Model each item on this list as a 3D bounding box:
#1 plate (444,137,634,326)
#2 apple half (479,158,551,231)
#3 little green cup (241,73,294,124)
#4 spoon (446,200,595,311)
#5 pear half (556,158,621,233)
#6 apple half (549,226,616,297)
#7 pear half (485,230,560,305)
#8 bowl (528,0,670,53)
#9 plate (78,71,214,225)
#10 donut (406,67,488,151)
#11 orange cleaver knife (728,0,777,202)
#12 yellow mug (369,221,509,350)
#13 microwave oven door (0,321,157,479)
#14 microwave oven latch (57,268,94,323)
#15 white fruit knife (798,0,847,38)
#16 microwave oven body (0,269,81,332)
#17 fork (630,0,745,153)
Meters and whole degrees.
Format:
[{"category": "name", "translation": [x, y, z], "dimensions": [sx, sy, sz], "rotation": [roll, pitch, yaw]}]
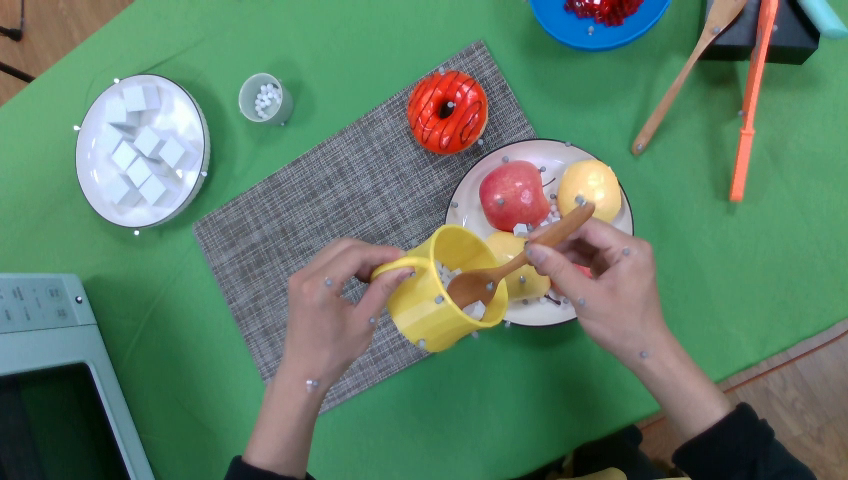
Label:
[{"category": "plate", "translation": [0.126, -0.009, 0.677], "dimensions": [0.208, 0.038, 0.209], "rotation": [-1, 88, 15]}, {"category": "apple half", "translation": [0.098, -0.050, 0.668], "dimensions": [0.074, 0.053, 0.080], "rotation": [-12, 88, 16]}, {"category": "little green cup", "translation": [-0.198, -0.178, 0.776], "dimensions": [0.061, 0.039, 0.061], "rotation": [-1, 88, 16]}, {"category": "spoon", "translation": [0.075, 0.018, 0.499], "dimensions": [0.042, 0.194, 0.021], "rotation": [39, 55, -8]}, {"category": "pear half", "translation": [0.172, -0.043, 0.651], "dimensions": [0.070, 0.031, 0.088], "rotation": [3, 99, 39]}, {"category": "apple half", "translation": [0.161, 0.025, 0.648], "dimensions": [0.081, 0.033, 0.081], "rotation": [6, 100, 37]}, {"category": "pear half", "translation": [0.105, 0.037, 0.667], "dimensions": [0.109, 0.056, 0.076], "rotation": [35, 101, 9]}, {"category": "bowl", "translation": [0.189, -0.267, 0.652], "dimensions": [0.151, 0.077, 0.151], "rotation": [0, 88, 15]}, {"category": "plate", "translation": [-0.372, -0.122, 0.822], "dimensions": [0.207, 0.039, 0.207], "rotation": [-1, 88, 16]}, {"category": "donut", "translation": [0.026, -0.152, 0.706], "dimensions": [0.099, 0.048, 0.099], "rotation": [0, 90, 18]}, {"category": "orange cleaver knife", "translation": [0.328, -0.145, 0.607], "dimensions": [0.012, 0.077, 0.213], "rotation": [8, 116, 21]}, {"category": "yellow mug", "translation": [0.009, 0.038, 0.537], "dimensions": [0.064, 0.132, 0.099], "rotation": [-33, 55, 36]}, {"category": "microwave oven door", "translation": [-0.420, 0.270, 0.697], "dimensions": [0.039, 0.245, 0.354], "rotation": [-27, 81, 13]}, {"category": "microwave oven latch", "translation": [-0.482, 0.078, 0.826], "dimensions": [0.030, 0.029, 0.079], "rotation": [-25, 82, 13]}, {"category": "white fruit knife", "translation": [0.348, -0.282, 0.590], "dimensions": [0.027, 0.016, 0.206], "rotation": [-23, 79, -16]}, {"category": "microwave oven body", "translation": [-0.562, 0.297, 0.741], "dimensions": [0.326, 0.261, 0.440], "rotation": [-27, 82, 12]}, {"category": "fork", "translation": [0.271, -0.179, 0.622], "dimensions": [0.028, 0.018, 0.208], "rotation": [29, 116, 6]}]
